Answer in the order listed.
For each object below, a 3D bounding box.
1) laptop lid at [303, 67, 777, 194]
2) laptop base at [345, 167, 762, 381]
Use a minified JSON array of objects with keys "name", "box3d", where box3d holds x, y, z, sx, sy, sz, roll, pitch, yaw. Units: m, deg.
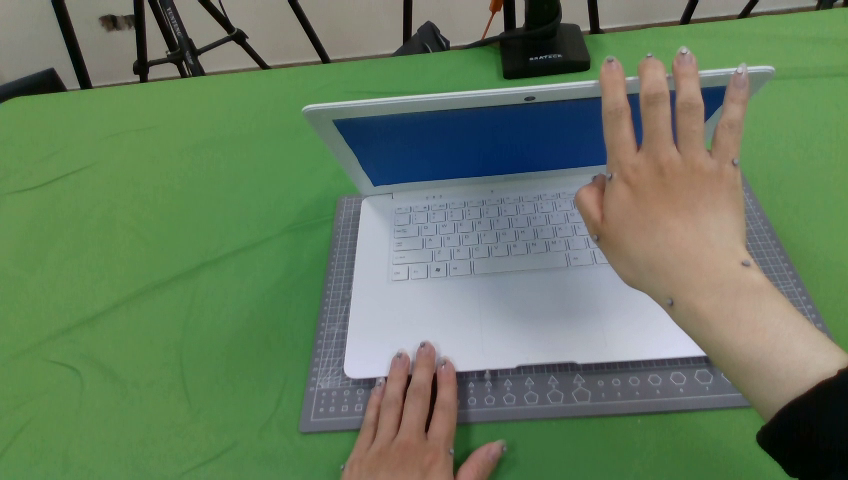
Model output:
[{"name":"laptop lid","box3d":[0.092,-0.088,0.556,0.356,0.243,0.013,-5,79,7]},{"name":"laptop base","box3d":[0.106,0.026,0.592,0.354,0.023,0.233,-5,48,5]}]
